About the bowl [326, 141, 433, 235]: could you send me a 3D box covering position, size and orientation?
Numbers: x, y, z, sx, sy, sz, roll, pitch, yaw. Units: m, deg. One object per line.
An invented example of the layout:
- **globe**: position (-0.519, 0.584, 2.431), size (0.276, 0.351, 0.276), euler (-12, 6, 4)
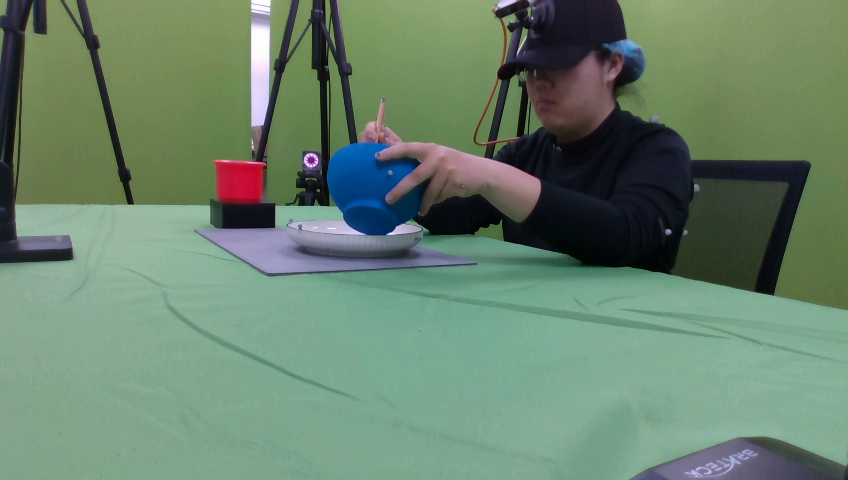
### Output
- **bowl**: position (-0.068, -0.057, 0.834), size (0.151, 0.076, 0.151), euler (7, -32, 5)

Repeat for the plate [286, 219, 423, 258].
- **plate**: position (-0.105, -0.003, 0.922), size (0.208, 0.039, 0.207), euler (3, 8, 0)

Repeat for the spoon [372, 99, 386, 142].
- **spoon**: position (-0.080, -0.141, 0.913), size (0.021, 0.193, 0.041), euler (10, -33, 10)
